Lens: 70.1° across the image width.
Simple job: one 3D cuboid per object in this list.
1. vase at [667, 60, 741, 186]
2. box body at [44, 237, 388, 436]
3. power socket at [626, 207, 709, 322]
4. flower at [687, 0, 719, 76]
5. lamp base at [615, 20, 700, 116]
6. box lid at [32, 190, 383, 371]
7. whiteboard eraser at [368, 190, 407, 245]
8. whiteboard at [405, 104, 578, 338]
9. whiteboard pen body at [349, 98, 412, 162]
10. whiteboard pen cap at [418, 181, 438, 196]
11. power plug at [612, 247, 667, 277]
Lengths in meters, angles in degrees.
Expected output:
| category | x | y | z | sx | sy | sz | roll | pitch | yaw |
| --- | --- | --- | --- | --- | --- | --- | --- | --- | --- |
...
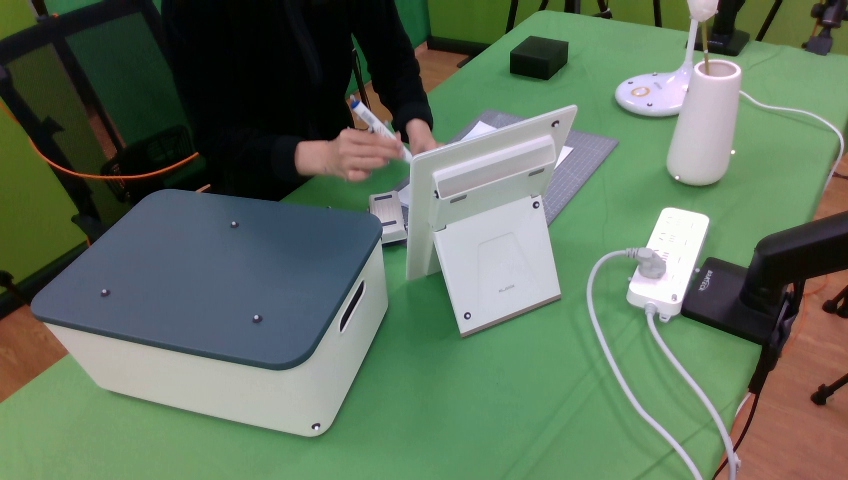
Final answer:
| category | x | y | z | sx | sy | sz | roll | pitch | yaw |
| --- | --- | --- | --- | --- | --- | --- | --- | --- | --- |
| vase | 0.463 | -0.189 | 0.994 | 0.098 | 0.201 | 0.097 | -4 | 40 | 4 |
| box body | -0.251 | 0.088 | 0.799 | 0.362 | 0.161 | 0.254 | 7 | 42 | 16 |
| power socket | 0.360 | 0.026 | 0.886 | 0.072 | 0.033 | 0.227 | 17 | 46 | 27 |
| flower | 0.436 | -0.242 | 0.934 | 0.038 | 0.364 | 0.043 | -24 | 49 | 9 |
| lamp base | 0.484 | -0.364 | 1.211 | 0.180 | 0.181 | 0.159 | -15 | 41 | -14 |
| box lid | -0.257 | 0.032 | 0.750 | 0.370 | 0.015 | 0.263 | 7 | 41 | 16 |
| whiteboard eraser | -0.061 | -0.035 | 1.006 | 0.056 | 0.042 | 0.112 | -9 | 40 | -3 |
| whiteboard | 0.102 | 0.003 | 0.787 | 0.218 | 0.306 | 0.143 | -19 | 62 | -14 |
| whiteboard pen body | -0.052 | -0.147 | 0.848 | 0.017 | 0.142 | 0.017 | -30 | 36 | 26 |
| whiteboard pen cap | 0.006 | -0.080 | 0.950 | 0.018 | 0.018 | 0.033 | 25 | 36 | 32 |
| power plug | 0.306 | 0.031 | 0.852 | 0.072 | 0.053 | 0.035 | 21 | 48 | 37 |
